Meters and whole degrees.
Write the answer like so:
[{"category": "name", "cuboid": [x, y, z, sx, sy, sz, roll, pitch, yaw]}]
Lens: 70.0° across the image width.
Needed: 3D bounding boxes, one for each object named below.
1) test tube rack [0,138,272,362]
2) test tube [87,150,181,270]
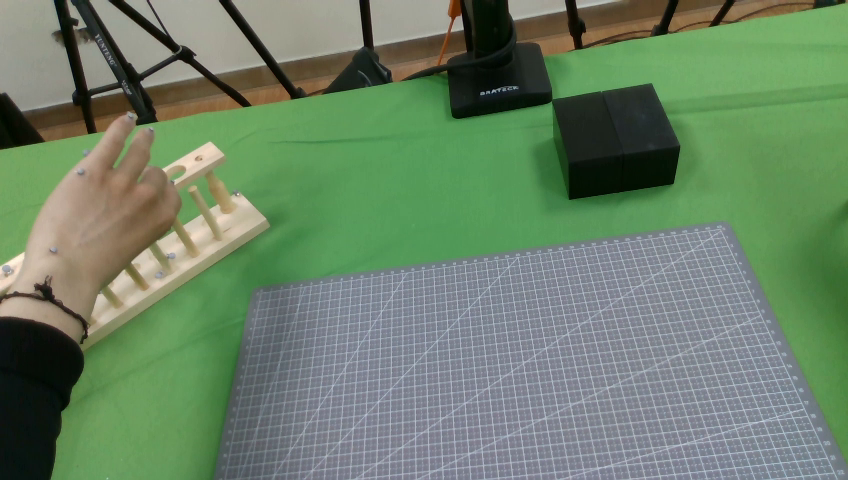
[{"category": "test tube rack", "cuboid": [-0.283, 0.005, 0.603, 0.242, 0.086, 0.066, -37, 51, -18]}, {"category": "test tube", "cuboid": [-0.266, -0.024, 0.564, 0.017, 0.152, 0.017, -6, 48, 7]}]
